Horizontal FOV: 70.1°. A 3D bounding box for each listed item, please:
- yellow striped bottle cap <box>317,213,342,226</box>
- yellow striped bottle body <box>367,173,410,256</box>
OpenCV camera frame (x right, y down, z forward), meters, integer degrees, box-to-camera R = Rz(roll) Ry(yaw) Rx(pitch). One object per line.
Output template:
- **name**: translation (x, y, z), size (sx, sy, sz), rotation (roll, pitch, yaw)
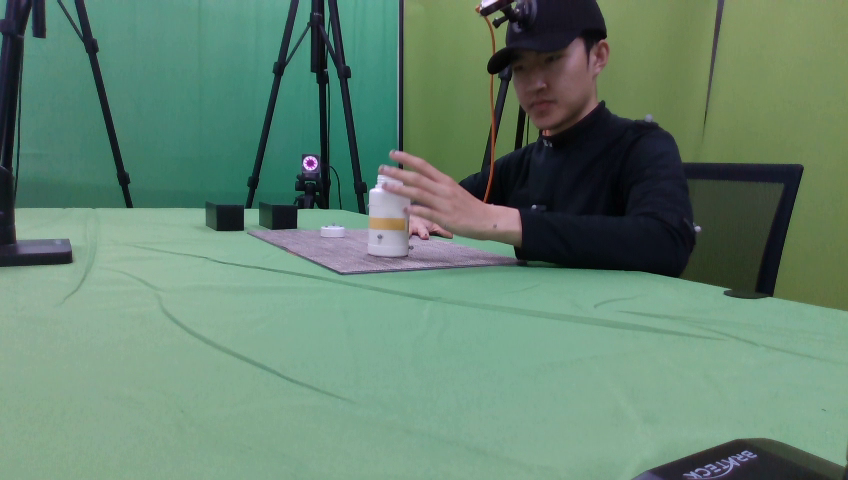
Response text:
- **yellow striped bottle cap**: translation (-0.171, -0.038, 1.102), size (0.044, 0.018, 0.044), rotation (-4, 14, 1)
- **yellow striped bottle body**: translation (-0.052, -0.040, 0.901), size (0.063, 0.120, 0.063), rotation (2, 7, 0)
